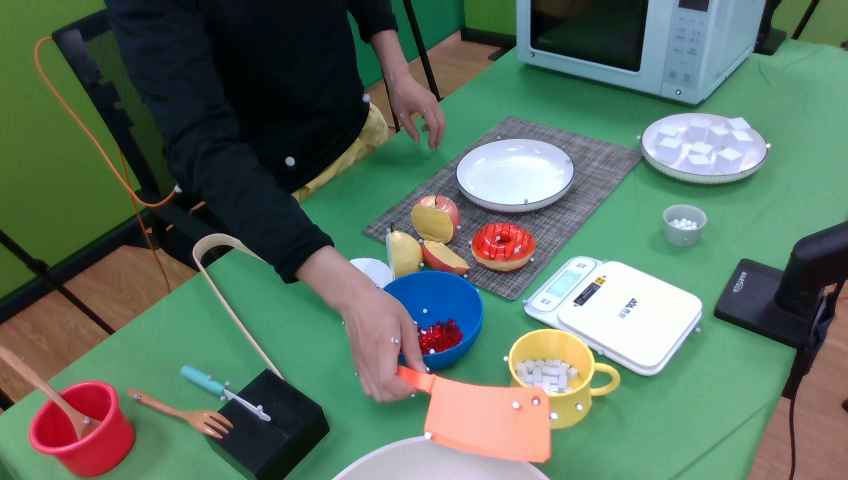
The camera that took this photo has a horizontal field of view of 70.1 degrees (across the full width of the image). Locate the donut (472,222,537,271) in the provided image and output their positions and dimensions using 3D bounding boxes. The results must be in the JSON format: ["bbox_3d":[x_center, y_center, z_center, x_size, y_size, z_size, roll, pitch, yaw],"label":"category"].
[{"bbox_3d":[0.123,0.009,0.923,0.099,0.048,0.098,-4,37,3],"label":"donut"}]

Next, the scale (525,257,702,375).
[{"bbox_3d":[0.254,0.091,0.821,0.199,0.032,0.149,28,51,35],"label":"scale"}]

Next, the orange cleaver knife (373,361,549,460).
[{"bbox_3d":[0.029,0.166,0.604,0.210,0.012,0.077,5,60,32],"label":"orange cleaver knife"}]

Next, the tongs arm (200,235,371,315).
[{"bbox_3d":[-0.209,0.062,0.924,0.381,0.026,0.051,23,51,32],"label":"tongs arm"}]

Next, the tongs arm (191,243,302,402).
[{"bbox_3d":[-0.269,0.107,0.881,0.028,0.028,0.384,-34,46,-19],"label":"tongs arm"}]

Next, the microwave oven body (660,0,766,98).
[{"bbox_3d":[0.472,-0.513,1.317,0.438,0.261,0.327,26,51,34],"label":"microwave oven body"}]

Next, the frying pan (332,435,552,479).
[{"bbox_3d":[-0.089,0.306,0.564,0.487,0.103,0.306,10,41,7],"label":"frying pan"}]

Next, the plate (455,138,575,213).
[{"bbox_3d":[0.159,-0.111,1.063,0.209,0.038,0.208,-4,40,4],"label":"plate"}]

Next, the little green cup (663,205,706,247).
[{"bbox_3d":[0.396,-0.021,0.926,0.061,0.039,0.061,-4,40,4],"label":"little green cup"}]

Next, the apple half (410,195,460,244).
[{"bbox_3d":[0.024,-0.037,0.970,0.080,0.075,0.053,12,40,28],"label":"apple half"}]

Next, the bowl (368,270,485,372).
[{"bbox_3d":[0.007,0.118,0.791,0.151,0.077,0.150,-5,39,4],"label":"bowl"}]

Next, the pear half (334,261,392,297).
[{"bbox_3d":[-0.093,0.063,0.907,0.088,0.031,0.070,-8,38,-25],"label":"pear half"}]

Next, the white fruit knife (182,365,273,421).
[{"bbox_3d":[-0.245,0.188,0.747,0.205,0.027,0.016,9,40,41],"label":"white fruit knife"}]

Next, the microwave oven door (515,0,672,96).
[{"bbox_3d":[0.343,-0.455,1.259,0.353,0.245,0.039,26,51,33],"label":"microwave oven door"}]

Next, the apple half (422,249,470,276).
[{"bbox_3d":[0.024,0.040,0.911,0.081,0.033,0.081,20,4,-1],"label":"apple half"}]

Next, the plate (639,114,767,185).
[{"bbox_3d":[0.489,-0.157,1.074,0.207,0.039,0.206,-4,40,4],"label":"plate"}]

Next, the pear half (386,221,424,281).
[{"bbox_3d":[-0.029,0.013,0.897,0.056,0.110,0.076,-16,46,-11],"label":"pear half"}]

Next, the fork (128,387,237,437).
[{"bbox_3d":[-0.305,0.207,0.745,0.206,0.019,0.028,3,41,35],"label":"fork"}]

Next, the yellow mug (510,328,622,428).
[{"bbox_3d":[0.168,0.164,0.722,0.130,0.064,0.099,0,40,8],"label":"yellow mug"}]

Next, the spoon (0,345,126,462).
[{"bbox_3d":[-0.434,0.192,0.720,0.194,0.021,0.042,47,53,-7],"label":"spoon"}]

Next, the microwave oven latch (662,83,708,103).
[{"bbox_3d":[0.517,-0.296,1.204,0.078,0.029,0.030,28,52,35],"label":"microwave oven latch"}]
